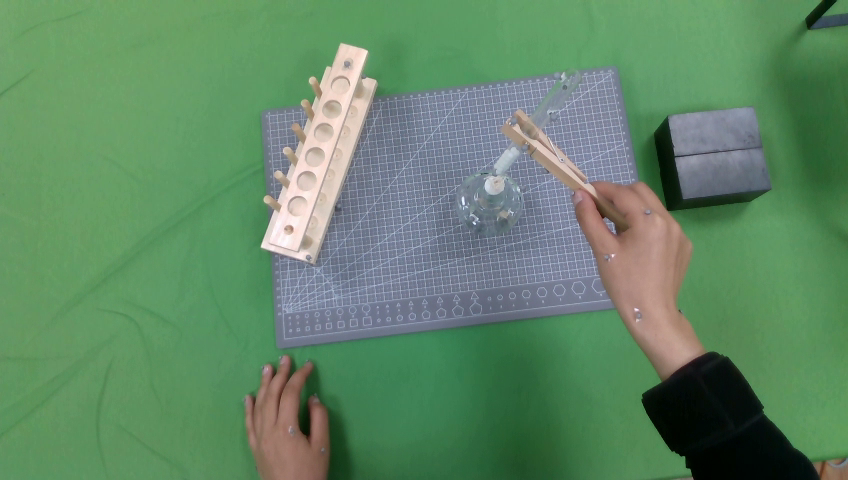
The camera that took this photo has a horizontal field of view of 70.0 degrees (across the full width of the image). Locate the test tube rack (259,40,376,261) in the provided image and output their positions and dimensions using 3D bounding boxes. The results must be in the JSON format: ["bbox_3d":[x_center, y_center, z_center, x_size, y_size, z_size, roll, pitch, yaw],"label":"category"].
[{"bbox_3d":[-0.130,-0.106,0.706,0.066,0.085,0.241,17,80,6],"label":"test tube rack"}]

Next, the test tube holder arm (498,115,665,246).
[{"bbox_3d":[0.140,-0.052,0.539,0.178,0.015,0.013,38,60,0],"label":"test tube holder arm"}]

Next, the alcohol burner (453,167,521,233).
[{"bbox_3d":[0.071,-0.050,0.674,0.078,0.119,0.077,0,77,1],"label":"alcohol burner"}]

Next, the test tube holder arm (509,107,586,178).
[{"bbox_3d":[0.110,-0.084,0.542,0.087,0.015,0.010,45,60,4],"label":"test tube holder arm"}]

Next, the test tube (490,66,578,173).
[{"bbox_3d":[0.092,-0.100,0.533,0.017,0.150,0.017,7,65,-15],"label":"test tube"}]
